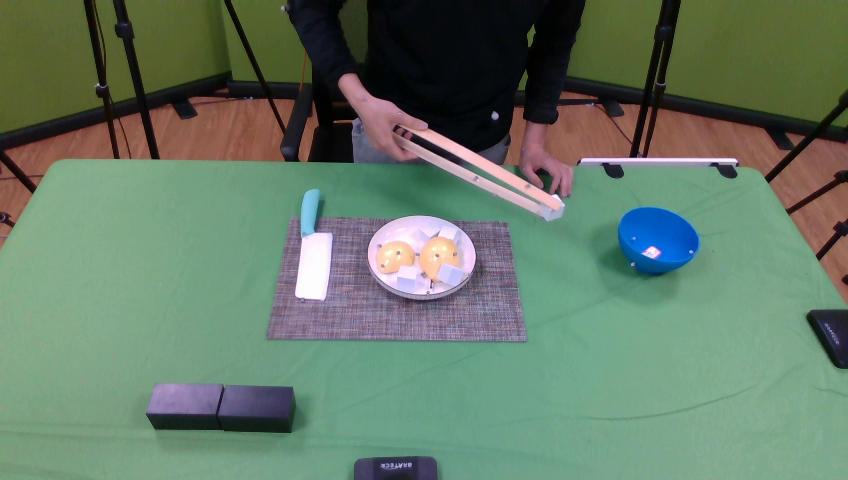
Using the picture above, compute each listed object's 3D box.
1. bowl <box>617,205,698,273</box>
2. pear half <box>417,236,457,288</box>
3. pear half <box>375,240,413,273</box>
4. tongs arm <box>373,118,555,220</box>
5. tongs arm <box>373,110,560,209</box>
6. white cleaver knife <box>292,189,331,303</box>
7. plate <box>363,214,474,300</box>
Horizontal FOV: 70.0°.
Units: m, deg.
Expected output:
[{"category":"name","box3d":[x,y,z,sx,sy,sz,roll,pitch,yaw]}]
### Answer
[{"category":"bowl","box3d":[0.444,0.011,1.181,0.151,0.077,0.150,2,46,-2]},{"category":"pear half","box3d":[0.022,0.039,1.127,0.076,0.056,0.109,5,50,7]},{"category":"pear half","box3d":[-0.059,0.026,1.145,0.070,0.031,0.088,22,43,21]},{"category":"tongs arm","box3d":[0.071,-0.140,1.138,0.383,0.051,0.026,27,57,16]},{"category":"tongs arm","box3d":[0.073,-0.153,1.118,0.386,0.028,0.027,29,61,13]},{"category":"white cleaver knife","box3d":[-0.215,0.006,1.178,0.066,0.021,0.284,6,49,-13]},{"category":"plate","box3d":[-0.010,0.036,1.146,0.208,0.039,0.206,2,46,-2]}]
